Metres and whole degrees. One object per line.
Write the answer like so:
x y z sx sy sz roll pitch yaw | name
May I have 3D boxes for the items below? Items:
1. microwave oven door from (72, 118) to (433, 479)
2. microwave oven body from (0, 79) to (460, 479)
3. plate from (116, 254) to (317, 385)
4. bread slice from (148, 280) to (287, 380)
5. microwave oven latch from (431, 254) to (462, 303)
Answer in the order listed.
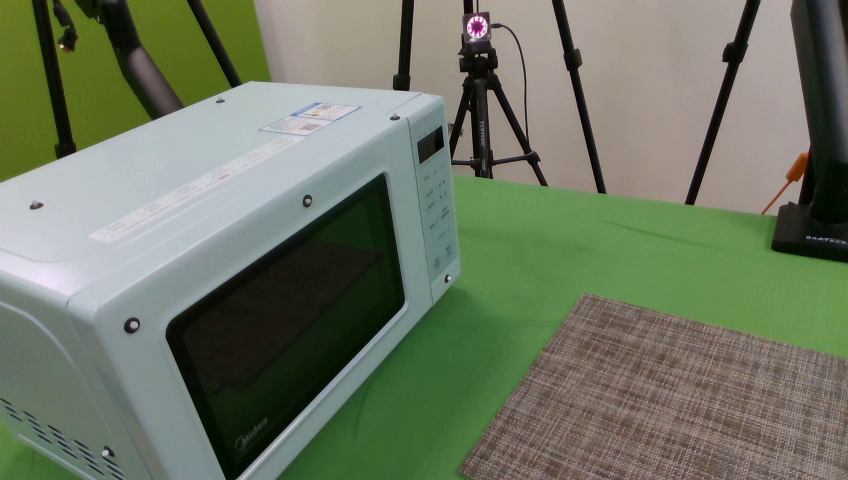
-0.106 0.061 0.551 0.039 0.246 0.355 11 34 29 | microwave oven door
-0.209 0.022 0.655 0.324 0.262 0.440 12 35 29 | microwave oven body
-0.216 0.085 0.651 0.209 0.038 0.207 -6 30 4 | plate
-0.218 0.087 0.656 0.104 0.019 0.131 19 42 37 | bread slice
0.020 0.046 0.759 0.030 0.030 0.079 12 36 30 | microwave oven latch
